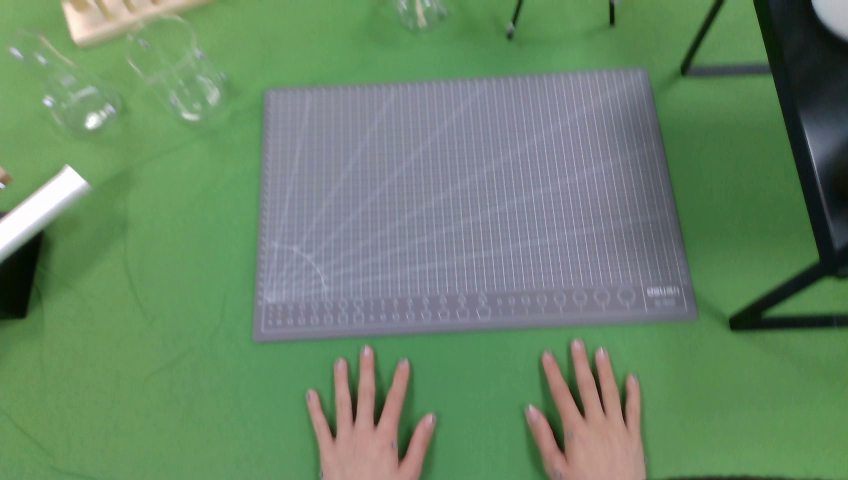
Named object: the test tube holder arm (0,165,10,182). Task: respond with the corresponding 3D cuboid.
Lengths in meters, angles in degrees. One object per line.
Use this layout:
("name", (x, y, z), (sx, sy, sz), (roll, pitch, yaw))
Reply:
("test tube holder arm", (-0.462, -0.043, 0.613), (0.010, 0.015, 0.087), (41, 75, 14))

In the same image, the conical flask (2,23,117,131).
("conical flask", (-0.398, -0.179, 0.656), (0.075, 0.122, 0.075), (-1, 69, 2))

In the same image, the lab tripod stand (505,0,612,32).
("lab tripod stand", (0.157, -0.314, 0.687), (0.148, 0.132, 0.147), (0, 69, 0))

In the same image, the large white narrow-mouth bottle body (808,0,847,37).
("large white narrow-mouth bottle body", (0.371, -0.240, 0.431), (0.102, 0.196, 0.101), (0, 71, 1))

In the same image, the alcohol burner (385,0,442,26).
("alcohol burner", (-0.012, -0.307, 0.699), (0.078, 0.120, 0.077), (0, 68, 0))

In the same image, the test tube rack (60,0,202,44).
("test tube rack", (-0.330, -0.329, 0.729), (0.242, 0.086, 0.066), (-23, 70, -7))

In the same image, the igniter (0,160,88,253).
("igniter", (-0.450, 0.023, 0.585), (0.057, 0.025, 0.276), (40, 72, 13))

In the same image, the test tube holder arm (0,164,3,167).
("test tube holder arm", (-0.497, -0.015, 0.603), (0.013, 0.015, 0.178), (40, 75, 14))

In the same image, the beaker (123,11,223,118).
("beaker", (-0.272, -0.186, 0.669), (0.074, 0.101, 0.083), (11, 71, 7))
